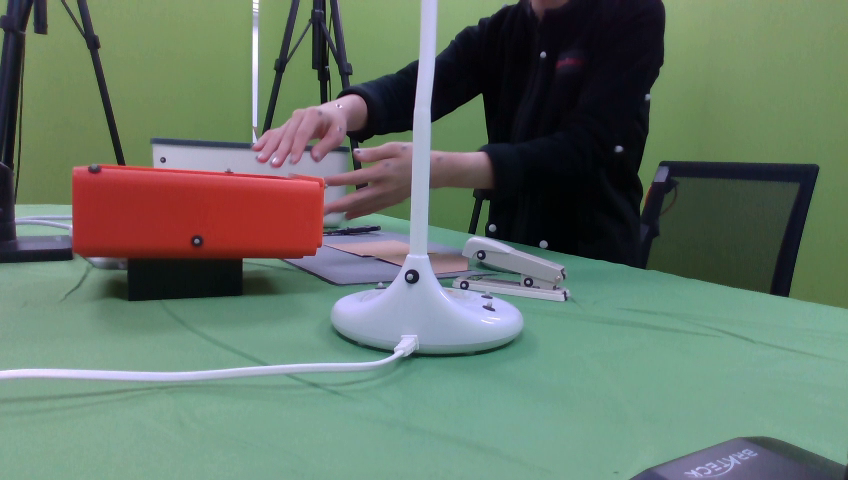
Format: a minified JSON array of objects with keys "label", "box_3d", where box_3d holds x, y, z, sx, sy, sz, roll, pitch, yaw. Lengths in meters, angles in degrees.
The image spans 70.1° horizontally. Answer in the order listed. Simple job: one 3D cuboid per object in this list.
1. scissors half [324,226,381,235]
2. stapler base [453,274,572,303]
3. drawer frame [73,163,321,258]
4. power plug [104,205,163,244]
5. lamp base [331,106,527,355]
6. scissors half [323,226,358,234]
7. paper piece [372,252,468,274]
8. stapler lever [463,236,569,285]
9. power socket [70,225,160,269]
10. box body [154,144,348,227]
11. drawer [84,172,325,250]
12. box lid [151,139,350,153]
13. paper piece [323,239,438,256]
[{"label":"scissors half","box_3d":[-0.153,-0.015,1.079,0.176,0.013,0.040,-7,2,-33]},{"label":"stapler base","box_3d":[0.097,0.047,0.670,0.130,0.024,0.041,7,12,23]},{"label":"drawer frame","box_3d":[-0.232,-0.034,0.635,0.214,0.082,0.201,1,8,-23]},{"label":"power plug","box_3d":[-0.390,-0.021,0.815,0.073,0.052,0.035,-1,8,-28]},{"label":"lamp base","box_3d":[0.006,-0.012,0.478,0.161,0.180,0.179,2,10,2]},{"label":"scissors half","box_3d":[-0.166,-0.015,1.094,0.040,0.013,0.176,3,7,39]},{"label":"paper piece","box_3d":[0.021,0.029,0.829,0.139,0.008,0.135,-2,11,-36]},{"label":"stapler lever","box_3d":[0.100,0.022,0.665,0.117,0.040,0.027,8,13,23]},{"label":"power socket","box_3d":[-0.409,0.004,0.793,0.072,0.032,0.225,-2,8,-38]},{"label":"box body","box_3d":[-0.357,-0.119,1.264,0.365,0.160,0.253,0,7,-18]},{"label":"drawer","box_3d":[-0.227,-0.036,0.638,0.213,0.073,0.193,-1,9,-23]},{"label":"box lid","box_3d":[-0.352,-0.191,1.255,0.373,0.015,0.262,0,8,-18]},{"label":"paper piece","box_3d":[-0.068,0.010,0.937,0.136,0.004,0.134,-3,10,-33]}]
